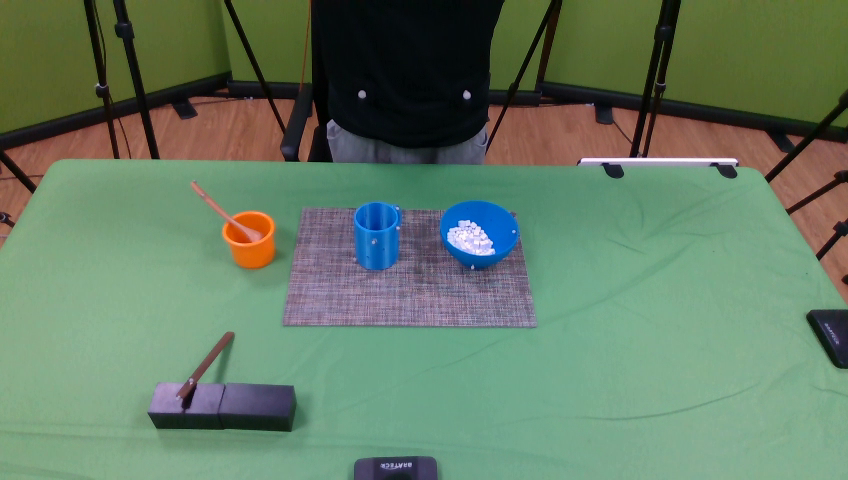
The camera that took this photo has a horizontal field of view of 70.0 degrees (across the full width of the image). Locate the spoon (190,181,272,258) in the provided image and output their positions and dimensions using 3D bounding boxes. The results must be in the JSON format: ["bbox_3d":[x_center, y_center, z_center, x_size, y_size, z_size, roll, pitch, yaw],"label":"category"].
[{"bbox_3d":[-0.353,-0.037,1.111,0.194,0.021,0.041,42,39,-20],"label":"spoon"}]

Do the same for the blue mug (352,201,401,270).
[{"bbox_3d":[-0.082,-0.017,1.144,0.082,0.106,0.116,30,51,22],"label":"blue mug"}]

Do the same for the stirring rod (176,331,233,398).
[{"bbox_3d":[-0.342,0.192,0.955,0.014,0.006,0.175,3,24,7],"label":"stirring rod"}]

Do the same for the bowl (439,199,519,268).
[{"bbox_3d":[0.100,0.000,1.160,0.151,0.077,0.150,2,46,-2],"label":"bowl"}]
